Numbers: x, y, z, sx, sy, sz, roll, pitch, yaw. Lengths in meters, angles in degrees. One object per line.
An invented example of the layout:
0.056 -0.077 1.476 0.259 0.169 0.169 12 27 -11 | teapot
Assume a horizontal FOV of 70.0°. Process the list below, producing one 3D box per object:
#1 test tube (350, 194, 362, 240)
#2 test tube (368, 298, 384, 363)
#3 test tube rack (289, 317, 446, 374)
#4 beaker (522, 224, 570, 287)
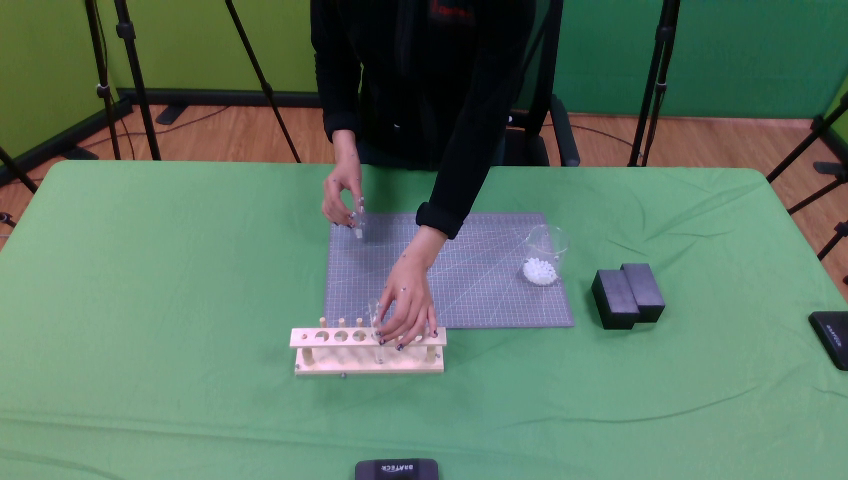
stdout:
-0.124 -0.040 1.116 0.017 0.151 0.017 2 62 -3 | test tube
-0.074 0.143 0.939 0.017 0.151 0.017 -1 44 1 | test tube
-0.089 0.167 0.987 0.242 0.085 0.066 0 46 -4 | test tube rack
0.221 0.032 1.129 0.084 0.101 0.073 -6 46 -9 | beaker
